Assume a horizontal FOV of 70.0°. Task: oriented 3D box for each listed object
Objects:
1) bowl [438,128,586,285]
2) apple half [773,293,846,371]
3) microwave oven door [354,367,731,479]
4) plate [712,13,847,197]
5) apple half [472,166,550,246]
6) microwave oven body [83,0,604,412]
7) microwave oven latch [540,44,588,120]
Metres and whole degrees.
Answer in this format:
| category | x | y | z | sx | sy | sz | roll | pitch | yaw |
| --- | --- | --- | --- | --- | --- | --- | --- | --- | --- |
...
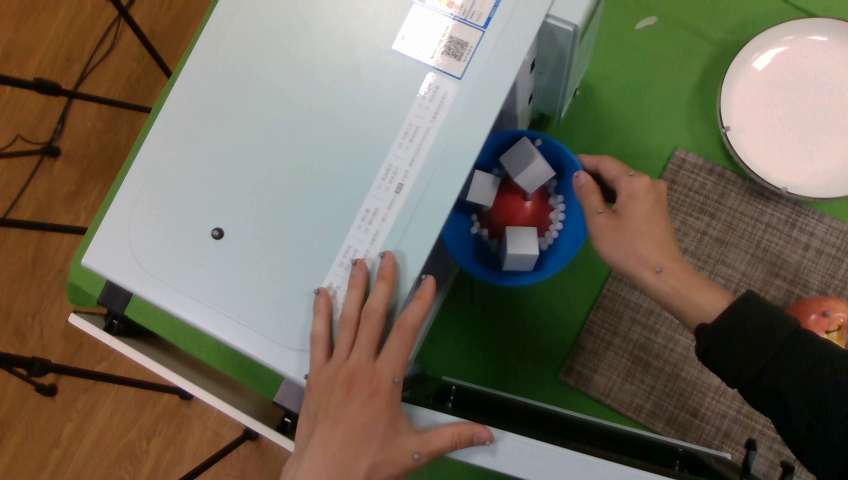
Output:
| category | x | y | z | sx | sy | sz | roll | pitch | yaw |
| --- | --- | --- | --- | --- | --- | --- | --- | --- | --- |
| bowl | 0.089 | -0.032 | 0.613 | 0.151 | 0.077 | 0.151 | 0 | 92 | 17 |
| apple half | 0.395 | 0.093 | 0.629 | 0.053 | 0.075 | 0.080 | 7 | 87 | 15 |
| microwave oven door | 0.134 | 0.186 | 0.554 | 0.355 | 0.245 | 0.039 | 13 | 84 | 10 |
| plate | 0.429 | -0.148 | 0.678 | 0.207 | 0.039 | 0.207 | -1 | 83 | 8 |
| apple half | 0.088 | -0.032 | 0.606 | 0.081 | 0.033 | 0.081 | 1 | 95 | 12 |
| microwave oven body | -0.062 | -0.101 | 0.624 | 0.325 | 0.261 | 0.441 | 26 | 87 | 10 |
| microwave oven latch | 0.163 | -0.182 | 0.702 | 0.030 | 0.029 | 0.079 | 26 | 88 | 10 |
